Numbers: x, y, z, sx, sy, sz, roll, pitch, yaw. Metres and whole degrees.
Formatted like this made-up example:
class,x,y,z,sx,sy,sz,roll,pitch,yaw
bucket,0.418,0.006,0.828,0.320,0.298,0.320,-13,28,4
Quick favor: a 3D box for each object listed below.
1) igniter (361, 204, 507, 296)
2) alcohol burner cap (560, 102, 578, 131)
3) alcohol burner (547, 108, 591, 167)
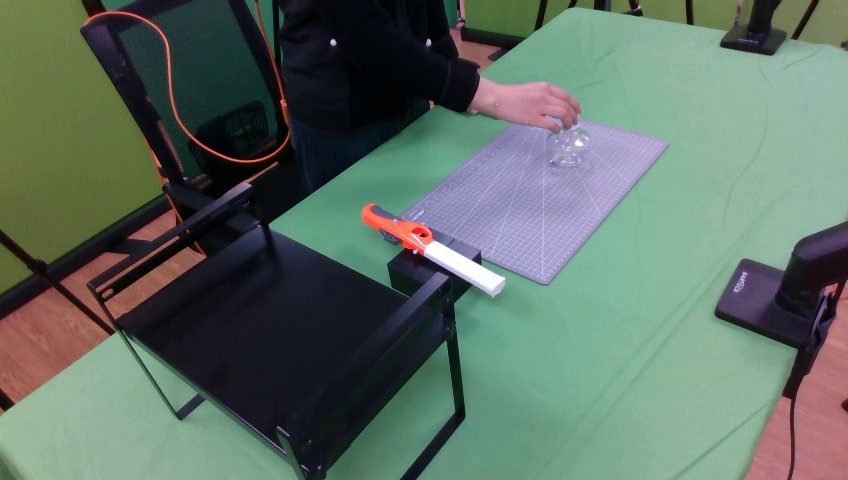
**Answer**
class,x,y,z,sx,sy,sz,roll,pitch,yaw
igniter,0.003,0.008,0.889,0.274,0.025,0.057,29,49,33
alcohol burner cap,0.253,-0.220,1.064,0.034,0.048,0.033,-9,31,6
alcohol burner,0.261,-0.192,1.087,0.078,0.119,0.077,-5,43,5
